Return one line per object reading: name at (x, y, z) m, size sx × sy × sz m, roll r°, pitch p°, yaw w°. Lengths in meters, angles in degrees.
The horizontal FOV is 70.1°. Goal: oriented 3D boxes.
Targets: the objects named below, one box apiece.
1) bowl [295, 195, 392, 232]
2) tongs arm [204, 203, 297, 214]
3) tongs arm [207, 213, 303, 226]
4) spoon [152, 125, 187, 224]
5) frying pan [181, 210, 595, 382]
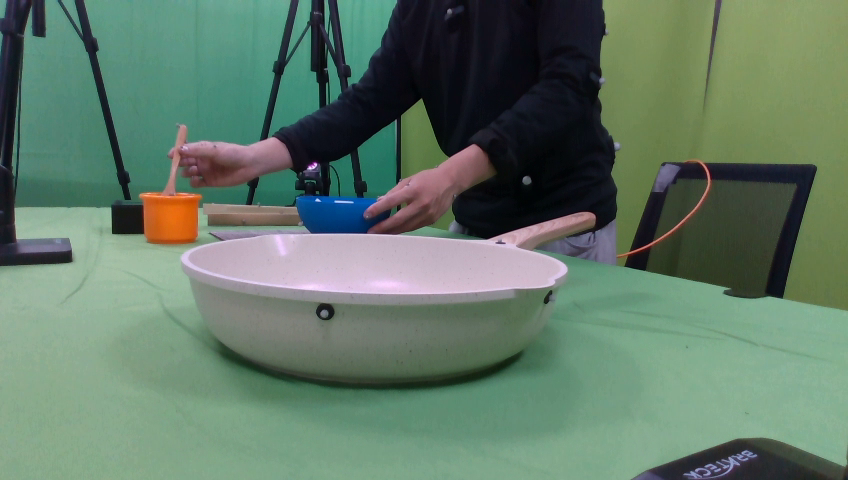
bowl at (-0.127, -0.028, 0.946) m, size 0.151 × 0.077 × 0.151 m, roll 2°, pitch 7°, yaw 0°
tongs arm at (-0.295, -0.061, 1.370) m, size 0.386 × 0.026 × 0.050 m, roll 1°, pitch 9°, yaw -19°
tongs arm at (-0.264, -0.046, 1.297) m, size 0.390 × 0.028 × 0.028 m, roll -2°, pitch 7°, yaw -32°
spoon at (-0.406, -0.110, 0.985) m, size 0.042 × 0.193 × 0.021 m, roll 7°, pitch -24°, yaw -14°
frying pan at (0.034, 0.019, 0.557) m, size 0.305 × 0.102 × 0.490 m, roll 10°, pitch 19°, yaw 42°
